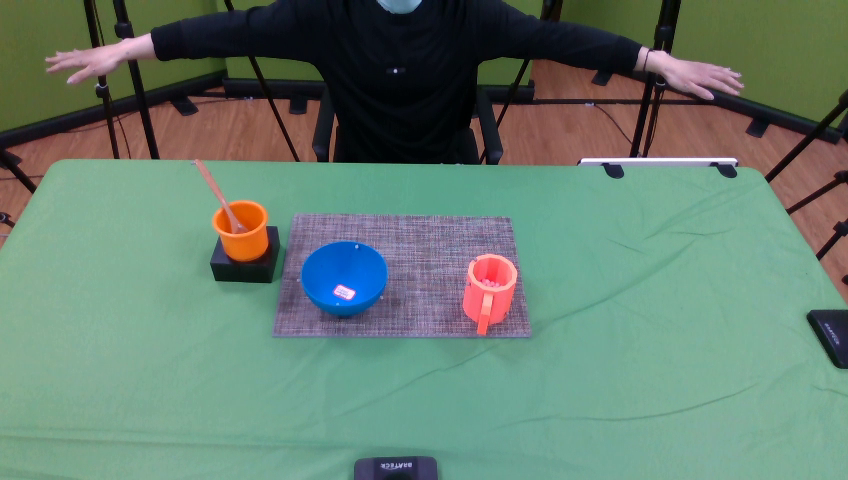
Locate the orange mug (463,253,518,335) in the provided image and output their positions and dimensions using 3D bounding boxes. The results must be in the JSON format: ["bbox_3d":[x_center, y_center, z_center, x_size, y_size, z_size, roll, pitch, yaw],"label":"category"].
[{"bbox_3d":[0.112,0.098,1.050,0.083,0.101,0.125,10,42,6],"label":"orange mug"}]

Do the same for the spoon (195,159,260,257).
[{"bbox_3d":[-0.348,-0.057,1.069,0.041,0.194,0.021,-31,12,-26],"label":"spoon"}]

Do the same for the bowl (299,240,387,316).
[{"bbox_3d":[-0.139,0.081,1.064,0.151,0.077,0.150,2,46,-1],"label":"bowl"}]
